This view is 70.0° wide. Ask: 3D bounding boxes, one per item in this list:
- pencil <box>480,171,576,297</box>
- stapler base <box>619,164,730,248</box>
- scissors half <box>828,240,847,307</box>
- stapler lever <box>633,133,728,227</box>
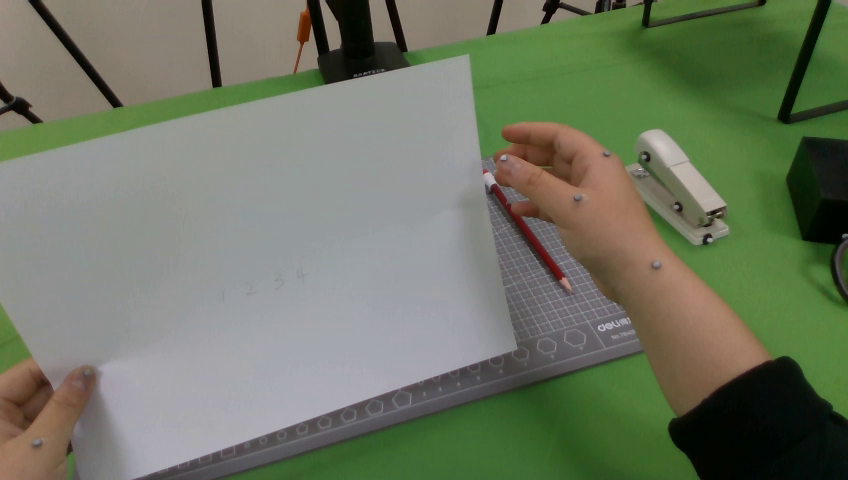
[{"bbox_3d":[0.097,-0.012,0.586,0.012,0.012,0.191,-17,45,-13],"label":"pencil"},{"bbox_3d":[0.246,-0.044,0.602,0.041,0.025,0.129,-19,45,-12],"label":"stapler base"},{"bbox_3d":[0.378,-0.026,0.515,0.040,0.013,0.174,13,79,30],"label":"scissors half"},{"bbox_3d":[0.245,-0.062,0.583,0.027,0.040,0.116,-19,45,-12],"label":"stapler lever"}]
